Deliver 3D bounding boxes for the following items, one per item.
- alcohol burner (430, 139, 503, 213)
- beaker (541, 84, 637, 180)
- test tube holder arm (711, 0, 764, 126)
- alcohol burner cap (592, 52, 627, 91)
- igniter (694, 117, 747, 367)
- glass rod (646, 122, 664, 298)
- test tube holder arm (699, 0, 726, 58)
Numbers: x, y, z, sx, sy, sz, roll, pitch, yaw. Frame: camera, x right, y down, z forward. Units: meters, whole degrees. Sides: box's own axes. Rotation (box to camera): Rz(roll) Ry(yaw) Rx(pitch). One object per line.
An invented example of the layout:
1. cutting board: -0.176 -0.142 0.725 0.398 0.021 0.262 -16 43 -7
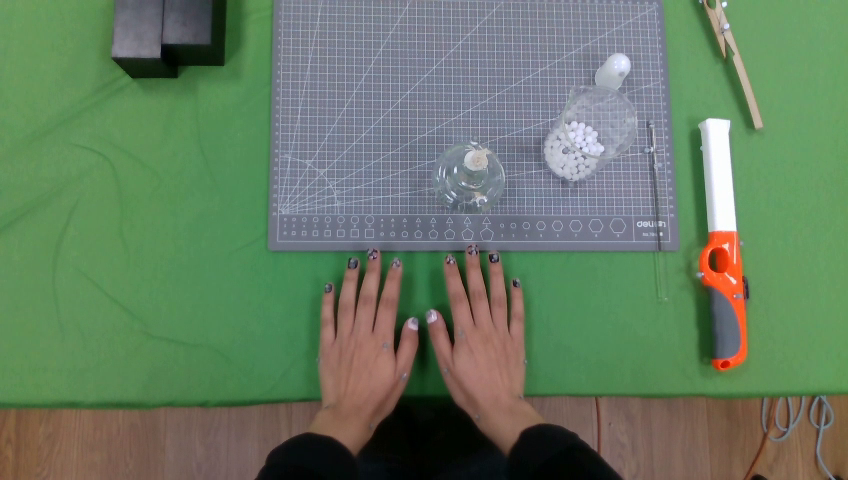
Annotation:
1. alcohol burner: 0.045 -0.070 0.615 0.078 0.119 0.077 0 79 -2
2. beaker: 0.165 -0.110 0.635 0.074 0.100 0.084 -33 83 -8
3. test tube holder arm: 0.358 -0.216 0.703 0.013 0.015 0.178 -23 83 28
4. alcohol burner cap: 0.210 -0.191 0.678 0.034 0.048 0.033 0 82 -3
5. igniter: 0.324 0.000 0.668 0.057 0.025 0.275 2 82 -13
6. glass rod: 0.257 -0.035 0.675 0.008 0.008 0.199 0 82 -4
7. test tube holder arm: 0.339 -0.256 0.710 0.010 0.015 0.087 -21 83 28
